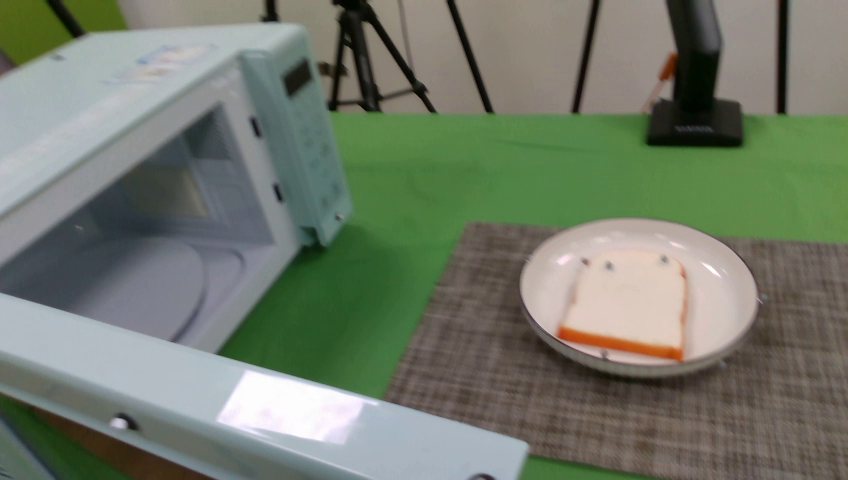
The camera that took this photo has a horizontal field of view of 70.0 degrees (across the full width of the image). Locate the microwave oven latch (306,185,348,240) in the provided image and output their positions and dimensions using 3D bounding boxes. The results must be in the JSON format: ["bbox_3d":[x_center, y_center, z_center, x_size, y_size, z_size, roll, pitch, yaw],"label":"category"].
[{"bbox_3d":[-0.119,-0.035,0.736,0.030,0.030,0.078,6,40,21],"label":"microwave oven latch"}]

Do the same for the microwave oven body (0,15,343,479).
[{"bbox_3d":[-0.330,-0.015,0.600,0.324,0.263,0.439,5,40,20],"label":"microwave oven body"}]

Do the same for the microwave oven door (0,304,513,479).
[{"bbox_3d":[-0.112,0.142,0.325,0.354,0.246,0.039,8,41,24],"label":"microwave oven door"}]

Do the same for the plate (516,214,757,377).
[{"bbox_3d":[0.191,0.050,0.567,0.209,0.038,0.207,-7,37,6],"label":"plate"}]

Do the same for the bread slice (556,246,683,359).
[{"bbox_3d":[0.188,0.051,0.569,0.104,0.019,0.131,7,41,22],"label":"bread slice"}]
